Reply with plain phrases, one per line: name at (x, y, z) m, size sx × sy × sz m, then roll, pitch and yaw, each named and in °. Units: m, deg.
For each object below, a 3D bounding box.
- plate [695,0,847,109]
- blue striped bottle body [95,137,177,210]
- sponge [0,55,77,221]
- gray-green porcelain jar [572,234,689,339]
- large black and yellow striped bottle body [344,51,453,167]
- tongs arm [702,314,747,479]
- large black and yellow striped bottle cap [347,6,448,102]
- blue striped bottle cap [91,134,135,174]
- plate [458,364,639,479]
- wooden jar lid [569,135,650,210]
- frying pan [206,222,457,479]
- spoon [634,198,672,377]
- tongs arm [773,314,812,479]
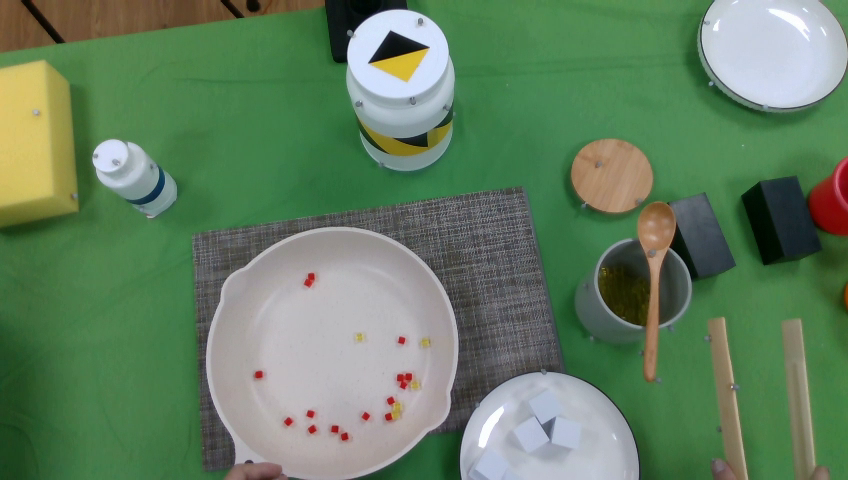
plate at (0.488, -0.276, 0.861) m, size 0.209 × 0.038 × 0.208 m, roll 0°, pitch 74°, yaw 1°
blue striped bottle body at (-0.370, -0.087, 0.773) m, size 0.063 × 0.121 × 0.062 m, roll 0°, pitch 73°, yaw 1°
sponge at (-0.551, -0.137, 0.819) m, size 0.118 × 0.061 × 0.205 m, roll -13°, pitch 75°, yaw -4°
gray-green porcelain jar at (0.238, 0.060, 0.722) m, size 0.106 × 0.127 × 0.105 m, roll 0°, pitch 73°, yaw 1°
large black and yellow striped bottle body at (-0.029, -0.186, 0.766) m, size 0.131 × 0.185 × 0.130 m, roll 0°, pitch 73°, yaw 1°
tongs arm at (0.337, 0.268, 0.620) m, size 0.051 × 0.026 × 0.383 m, roll 2°, pitch 78°, yaw -24°
large black and yellow striped bottle cap at (-0.030, -0.212, 0.685) m, size 0.115 × 0.019 × 0.114 m, roll 0°, pitch 75°, yaw 1°
blue striped bottle cap at (-0.372, -0.103, 0.724) m, size 0.044 × 0.021 × 0.044 m, roll 0°, pitch 75°, yaw 0°
plate at (0.144, 0.252, 0.712) m, size 0.208 × 0.039 × 0.206 m, roll 0°, pitch 76°, yaw 0°
wooden jar lid at (0.250, -0.090, 0.820) m, size 0.108 × 0.021 × 0.108 m, roll 0°, pitch 75°, yaw 1°
frying pan at (-0.162, 0.205, 0.692) m, size 0.306 × 0.103 × 0.486 m, roll 31°, pitch 68°, yaw 10°
spoon at (0.243, 0.049, 0.652) m, size 0.041 × 0.022 × 0.193 m, roll 8°, pitch 78°, yaw -2°
tongs arm at (0.395, 0.271, 0.644) m, size 0.028 × 0.027 × 0.385 m, roll 11°, pitch 75°, yaw -26°
